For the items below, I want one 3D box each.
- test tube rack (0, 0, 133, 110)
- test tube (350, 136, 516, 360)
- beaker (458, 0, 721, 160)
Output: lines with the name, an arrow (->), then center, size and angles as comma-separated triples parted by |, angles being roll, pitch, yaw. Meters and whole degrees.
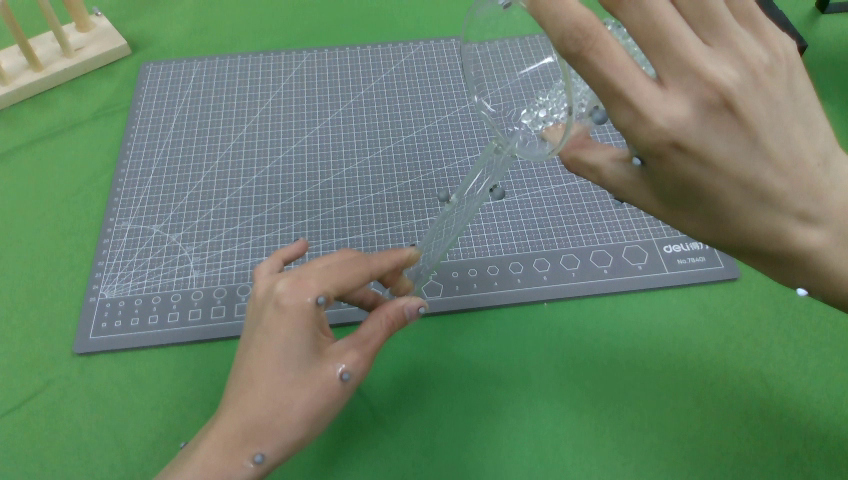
test tube rack -> -0.391, -0.160, 0.512 | 0.242, 0.086, 0.066 | -33, 60, -21
test tube -> 0.000, 0.010, 0.324 | 0.017, 0.150, 0.017 | 29, 23, -13
beaker -> 0.078, -0.089, 0.281 | 0.100, 0.084, 0.073 | -29, 62, -20
